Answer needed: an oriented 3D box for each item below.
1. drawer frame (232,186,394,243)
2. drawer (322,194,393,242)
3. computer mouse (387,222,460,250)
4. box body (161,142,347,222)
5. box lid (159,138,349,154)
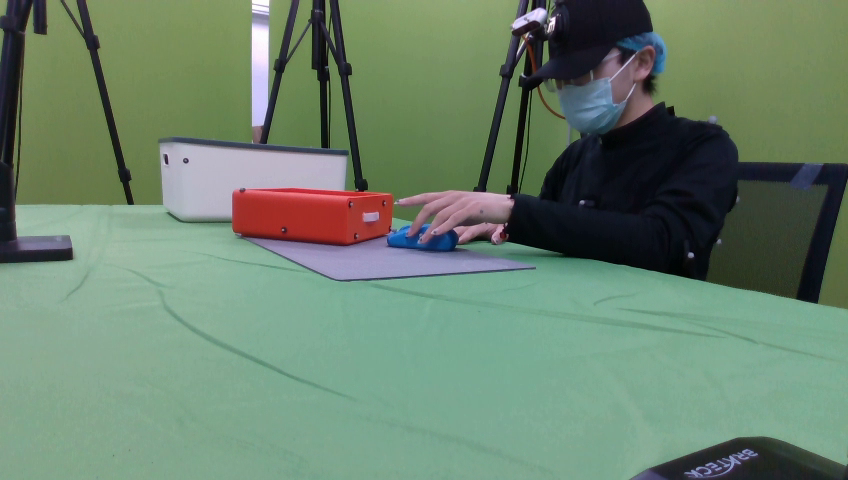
[{"bbox_3d":[-0.186,-0.049,1.060,0.213,0.082,0.202,4,8,17],"label":"drawer frame"},{"bbox_3d":[-0.184,-0.048,1.060,0.211,0.073,0.195,4,8,18],"label":"drawer"},{"bbox_3d":[0.000,-0.008,0.979,0.117,0.041,0.063,0,9,14],"label":"computer mouse"},{"bbox_3d":[-0.380,-0.132,1.352,0.366,0.160,0.253,-2,9,-30],"label":"box body"},{"bbox_3d":[-0.376,-0.206,1.344,0.373,0.015,0.262,-1,8,-30],"label":"box lid"}]
